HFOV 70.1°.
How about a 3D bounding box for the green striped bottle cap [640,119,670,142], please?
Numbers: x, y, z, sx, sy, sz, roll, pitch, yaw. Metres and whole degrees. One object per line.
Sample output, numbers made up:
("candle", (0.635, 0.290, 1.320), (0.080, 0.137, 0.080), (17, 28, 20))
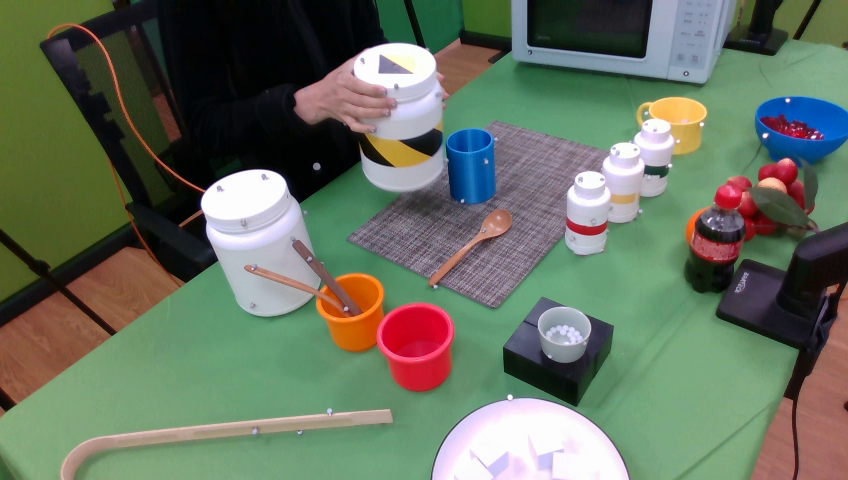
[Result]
("green striped bottle cap", (0.370, -0.175, 0.968), (0.044, 0.020, 0.044), (-3, 41, 3))

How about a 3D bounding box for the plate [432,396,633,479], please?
("plate", (0.112, 0.261, 0.634), (0.209, 0.038, 0.208), (-5, 40, 4))

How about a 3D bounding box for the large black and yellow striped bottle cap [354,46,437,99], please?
("large black and yellow striped bottle cap", (-0.039, -0.234, 0.839), (0.115, 0.019, 0.114), (0, 46, 0))

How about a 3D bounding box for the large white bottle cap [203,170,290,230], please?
("large white bottle cap", (-0.241, -0.057, 0.822), (0.115, 0.018, 0.114), (-4, 41, 4))

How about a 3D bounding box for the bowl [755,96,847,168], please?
("bowl", (0.645, -0.177, 1.041), (0.151, 0.077, 0.150), (-5, 40, 4))

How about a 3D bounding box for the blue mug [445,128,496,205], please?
("blue mug", (0.082, -0.137, 1.056), (0.082, 0.106, 0.116), (-4, 40, 4))

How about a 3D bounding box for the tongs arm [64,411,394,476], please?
("tongs arm", (-0.228, 0.241, 0.715), (0.385, 0.026, 0.050), (-5, 43, 4))

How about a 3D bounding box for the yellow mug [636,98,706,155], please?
("yellow mug", (0.453, -0.217, 1.128), (0.100, 0.064, 0.129), (-34, 46, -27))

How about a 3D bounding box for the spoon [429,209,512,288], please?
("spoon", (0.072, 0.012, 0.945), (0.041, 0.021, 0.194), (41, 57, 17))

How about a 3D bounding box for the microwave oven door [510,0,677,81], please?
("microwave oven door", (0.354, -0.478, 1.290), (0.353, 0.245, 0.039), (15, 45, 25))

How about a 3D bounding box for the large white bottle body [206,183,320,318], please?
("large white bottle body", (-0.233, 0.008, 0.876), (0.130, 0.185, 0.130), (-4, 40, 4))

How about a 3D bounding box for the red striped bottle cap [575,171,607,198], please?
("red striped bottle cap", (0.242, -0.081, 0.876), (0.044, 0.018, 0.044), (-5, 44, 5))

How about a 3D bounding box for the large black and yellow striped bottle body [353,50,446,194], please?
("large black and yellow striped bottle body", (-0.034, -0.176, 0.899), (0.131, 0.185, 0.130), (-1, 46, 2))

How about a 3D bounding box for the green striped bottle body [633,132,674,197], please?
("green striped bottle body", (0.376, -0.135, 1.001), (0.063, 0.120, 0.063), (-5, 40, 5))

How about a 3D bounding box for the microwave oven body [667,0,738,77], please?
("microwave oven body", (0.462, -0.552, 1.369), (0.439, 0.261, 0.326), (15, 45, 26))

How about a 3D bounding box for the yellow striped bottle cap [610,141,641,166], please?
("yellow striped bottle cap", (0.308, -0.131, 0.925), (0.044, 0.019, 0.044), (-4, 46, 4))

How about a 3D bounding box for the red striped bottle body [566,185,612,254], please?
("red striped bottle body", (0.248, -0.041, 0.910), (0.063, 0.120, 0.062), (-4, 41, 4))

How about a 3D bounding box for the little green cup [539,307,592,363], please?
("little green cup", (0.168, 0.115, 0.721), (0.061, 0.039, 0.061), (-4, 42, 4))

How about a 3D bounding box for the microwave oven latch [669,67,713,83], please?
("microwave oven latch", (0.556, -0.349, 1.261), (0.078, 0.029, 0.030), (16, 46, 27))

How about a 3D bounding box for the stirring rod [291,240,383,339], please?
("stirring rod", (-0.119, 0.068, 0.826), (0.176, 0.006, 0.014), (49, 59, -4))

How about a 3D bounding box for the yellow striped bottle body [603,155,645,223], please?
("yellow striped bottle body", (0.314, -0.091, 0.958), (0.063, 0.121, 0.062), (-4, 40, 4))

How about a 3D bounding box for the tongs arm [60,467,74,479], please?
("tongs arm", (-0.239, 0.301, 0.648), (0.386, 0.028, 0.028), (6, 49, 16))

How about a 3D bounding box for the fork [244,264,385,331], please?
("fork", (-0.142, 0.078, 0.807), (0.209, 0.018, 0.028), (30, 35, -24))
